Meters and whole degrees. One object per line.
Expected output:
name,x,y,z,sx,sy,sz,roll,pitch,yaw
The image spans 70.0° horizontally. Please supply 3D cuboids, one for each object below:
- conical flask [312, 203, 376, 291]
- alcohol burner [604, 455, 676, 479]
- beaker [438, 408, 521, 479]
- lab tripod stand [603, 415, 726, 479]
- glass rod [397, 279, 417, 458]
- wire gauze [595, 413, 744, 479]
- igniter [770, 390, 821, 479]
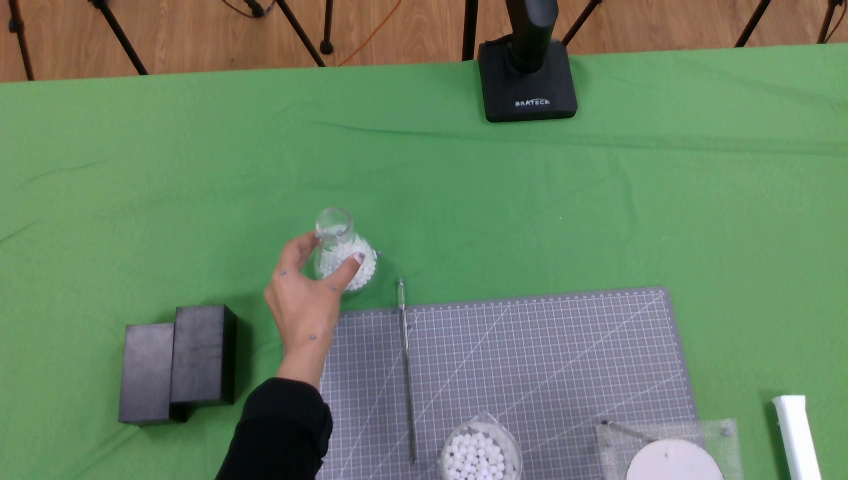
conical flask,-0.092,0.003,0.659,0.075,0.122,0.075,0,66,-1
alcohol burner,0.215,0.247,0.583,0.078,0.120,0.077,0,69,1
beaker,0.051,0.213,0.598,0.074,0.101,0.083,7,68,1
lab tripod stand,0.213,0.237,0.576,0.148,0.132,0.147,1,71,-1
glass rod,-0.019,0.138,0.673,0.008,0.008,0.198,-4,70,-4
wire gauze,0.215,0.211,0.513,0.125,0.011,0.120,-2,71,-2
igniter,0.400,0.295,0.620,0.057,0.025,0.274,4,69,-12
